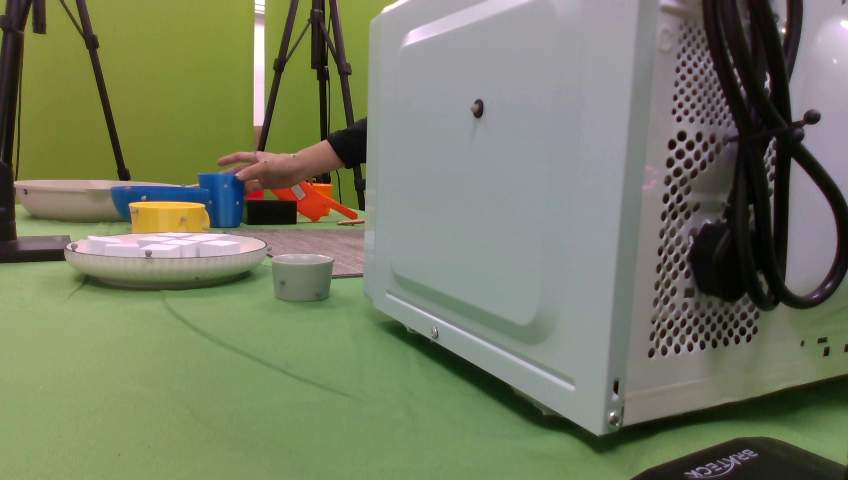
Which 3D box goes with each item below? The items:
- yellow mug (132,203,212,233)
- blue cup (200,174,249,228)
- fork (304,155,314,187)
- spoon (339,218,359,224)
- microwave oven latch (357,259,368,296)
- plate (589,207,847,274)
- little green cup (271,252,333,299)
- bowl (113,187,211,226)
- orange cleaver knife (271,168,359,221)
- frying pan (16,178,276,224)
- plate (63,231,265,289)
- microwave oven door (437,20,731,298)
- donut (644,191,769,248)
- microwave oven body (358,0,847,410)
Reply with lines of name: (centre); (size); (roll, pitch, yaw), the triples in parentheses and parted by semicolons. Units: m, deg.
yellow mug: (-0.356, -0.020, 0.878); (0.099, 0.064, 0.131); (4, 7, 22)
blue cup: (-0.381, -0.075, 1.154); (0.093, 0.100, 0.092); (0, 7, 0)
fork: (-0.268, -0.134, 1.447); (0.028, 0.018, 0.207); (2, -36, -1)
spoon: (-0.087, -0.041, 1.268); (0.193, 0.021, 0.041); (3, 20, 13)
microwave oven latch: (-0.019, 0.031, 0.528); (0.079, 0.029, 0.030); (-1, 7, -25)
plate: (0.246, -0.002, 0.510); (0.209, 0.038, 0.209); (3, 6, 0)
little green cup: (-0.122, 0.035, 0.605); (0.061, 0.038, 0.061); (3, 7, 0)
bowl: (-0.436, -0.046, 1.013); (0.151, 0.077, 0.151); (2, 7, 0)
orange cleaver knife: (-0.236, -0.084, 1.332); (0.212, 0.077, 0.012); (31, -9, -31)
frying pan: (-0.554, -0.097, 1.266); (0.490, 0.102, 0.305); (-10, 13, -24)
plate: (-0.288, 0.021, 0.687); (0.208, 0.039, 0.207); (2, 8, 0)
microwave oven door: (0.181, -0.076, 0.618); (0.358, 0.243, 0.039); (-2, 9, -28)
donut: (0.240, -0.017, 0.518); (0.099, 0.048, 0.099); (2, 4, 0)
microwave oven body: (0.210, -0.051, 0.471); (0.444, 0.260, 0.324); (-1, 7, -28)
